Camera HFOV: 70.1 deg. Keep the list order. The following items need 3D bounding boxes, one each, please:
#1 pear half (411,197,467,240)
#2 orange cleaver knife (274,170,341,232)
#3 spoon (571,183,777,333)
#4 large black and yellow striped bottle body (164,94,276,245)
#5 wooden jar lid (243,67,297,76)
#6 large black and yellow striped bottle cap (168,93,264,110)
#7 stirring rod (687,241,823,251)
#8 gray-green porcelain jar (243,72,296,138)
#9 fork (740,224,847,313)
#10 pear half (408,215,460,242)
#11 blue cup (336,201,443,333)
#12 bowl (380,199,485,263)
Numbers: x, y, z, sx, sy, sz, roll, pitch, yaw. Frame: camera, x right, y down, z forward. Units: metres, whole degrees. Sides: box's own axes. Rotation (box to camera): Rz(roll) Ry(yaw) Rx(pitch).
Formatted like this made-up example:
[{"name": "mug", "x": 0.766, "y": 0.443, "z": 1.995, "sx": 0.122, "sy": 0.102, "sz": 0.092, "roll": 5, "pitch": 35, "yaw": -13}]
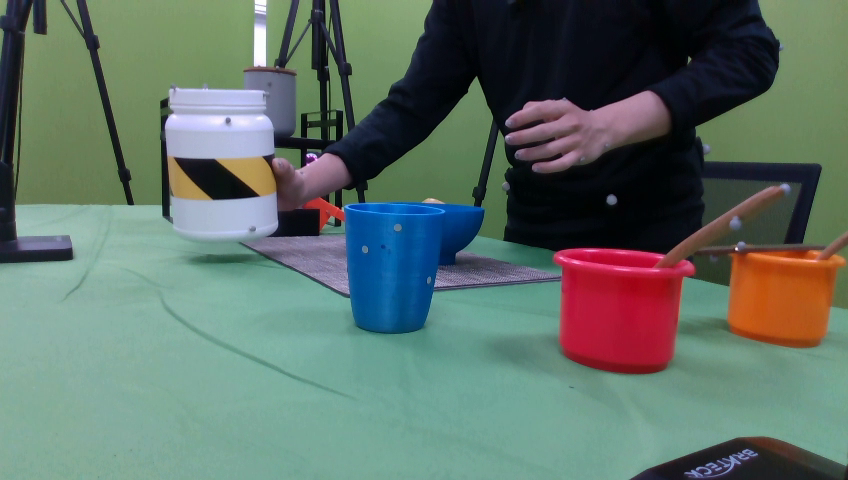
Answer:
[{"name": "pear half", "x": 0.030, "y": -0.023, "z": 1.076, "sx": 0.110, "sy": 0.056, "sz": 0.076, "roll": 31, "pitch": -36, "yaw": -14}, {"name": "orange cleaver knife", "x": -0.201, "y": -0.056, "z": 1.136, "sx": 0.212, "sy": 0.077, "sz": 0.012, "roll": 31, "pitch": -4, "yaw": -32}, {"name": "spoon", "x": 0.161, "y": 0.020, "z": 0.413, "sx": 0.042, "sy": 0.021, "sz": 0.193, "roll": 1, "pitch": -36, "yaw": -24}, {"name": "large black and yellow striped bottle body", "x": -0.263, "y": -0.096, "z": 0.787, "sx": 0.131, "sy": 0.184, "sz": 0.130, "roll": 1, "pitch": 14, "yaw": 0}, {"name": "wooden jar lid", "x": -0.319, "y": -0.342, "z": 1.254, "sx": 0.108, "sy": 0.020, "sz": 0.108, "roll": 3, "pitch": 8, "yaw": 0}, {"name": "large black and yellow striped bottle cap", "x": -0.263, "y": -0.177, "z": 0.768, "sx": 0.115, "sy": 0.019, "sz": 0.115, "roll": 2, "pitch": 15, "yaw": 0}, {"name": "stirring rod", "x": 0.289, "y": 0.005, "z": 0.525, "sx": 0.177, "sy": 0.006, "sz": 0.014, "roll": -1, "pitch": 5, "yaw": -26}, {"name": "gray-green porcelain jar", "x": -0.322, "y": -0.279, "z": 1.263, "sx": 0.106, "sy": 0.126, "sz": 0.106, "roll": 3, "pitch": 8, "yaw": 0}, {"name": "fork", "x": 0.323, "y": 0.013, "z": 0.485, "sx": 0.028, "sy": 0.018, "sz": 0.207, "roll": 8, "pitch": -37, "yaw": -6}, {"name": "pear half", "x": 0.011, "y": -0.019, "z": 0.848, "sx": 0.070, "sy": 0.031, "sz": 0.088, "roll": 5, "pitch": 12, "yaw": 33}, {"name": "blue cup", "x": -0.029, "y": 0.021, "z": 0.507, "sx": 0.093, "sy": 0.100, "sz": 0.092, "roll": 3, "pitch": 9, "yaw": 0}, {"name": "bowl", "x": 0.008, "y": -0.013, "z": 0.842, "sx": 0.151, "sy": 0.077, "sz": 0.151, "roll": 2, "pitch": 8, "yaw": 0}]
